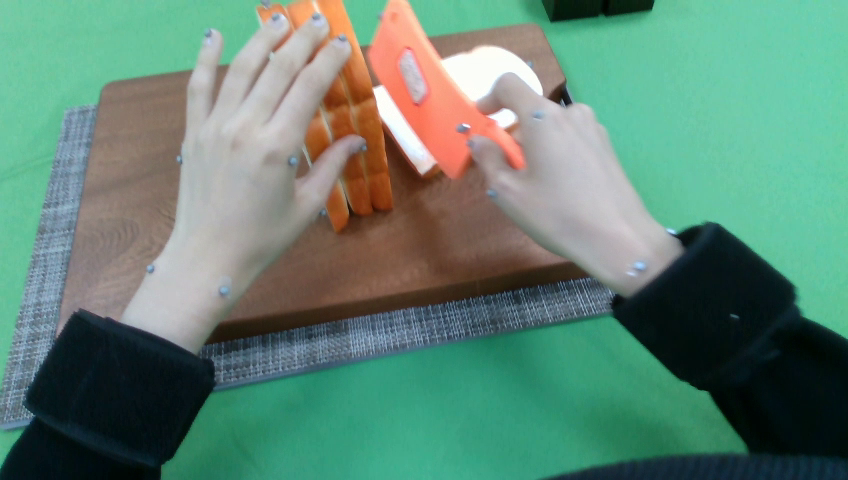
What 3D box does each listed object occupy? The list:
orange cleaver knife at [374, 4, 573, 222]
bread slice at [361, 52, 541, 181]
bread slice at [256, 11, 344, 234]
[{"bbox_3d":[0.022,-0.078,0.409,0.012,0.077,0.209,-17,58,-32],"label":"orange cleaver knife"},{"bbox_3d":[0.028,-0.106,0.492,0.131,0.019,0.104,-26,56,-12],"label":"bread slice"},{"bbox_3d":[-0.085,-0.085,0.415,0.018,0.135,0.106,-20,51,-12],"label":"bread slice"}]
